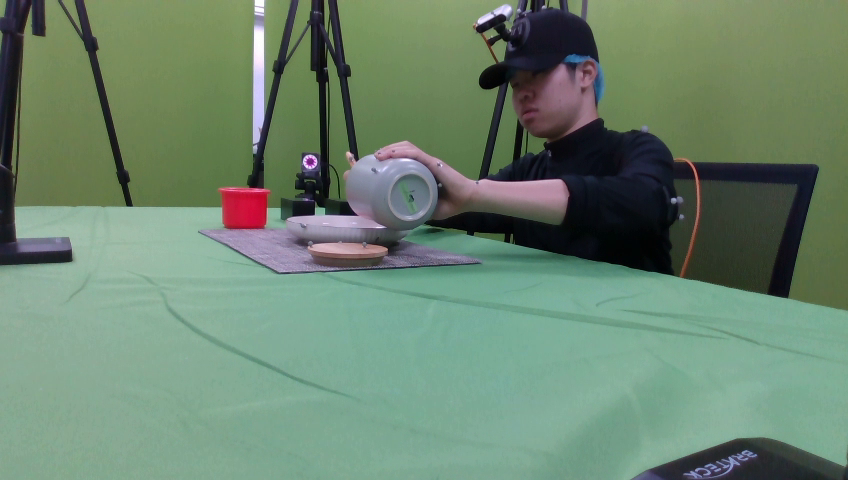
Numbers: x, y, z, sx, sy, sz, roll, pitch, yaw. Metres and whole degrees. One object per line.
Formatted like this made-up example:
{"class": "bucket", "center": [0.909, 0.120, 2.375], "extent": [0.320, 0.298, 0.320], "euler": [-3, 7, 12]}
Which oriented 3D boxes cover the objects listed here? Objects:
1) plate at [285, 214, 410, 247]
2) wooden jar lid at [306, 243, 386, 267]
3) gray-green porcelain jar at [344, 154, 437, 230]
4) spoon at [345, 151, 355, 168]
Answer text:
{"class": "plate", "center": [-0.127, -0.015, 1.012], "extent": [0.208, 0.039, 0.207], "euler": [3, 7, 0]}
{"class": "wooden jar lid", "center": [-0.105, 0.020, 0.816], "extent": [0.108, 0.020, 0.108], "euler": [1, 7, 0]}
{"class": "gray-green porcelain jar", "center": [-0.048, -0.072, 0.894], "extent": [0.106, 0.106, 0.126], "euler": [-1, 11, -27]}
{"class": "spoon", "center": [-0.091, -0.089, 0.961], "extent": [0.042, 0.021, 0.193], "euler": [7, 31, -39]}
